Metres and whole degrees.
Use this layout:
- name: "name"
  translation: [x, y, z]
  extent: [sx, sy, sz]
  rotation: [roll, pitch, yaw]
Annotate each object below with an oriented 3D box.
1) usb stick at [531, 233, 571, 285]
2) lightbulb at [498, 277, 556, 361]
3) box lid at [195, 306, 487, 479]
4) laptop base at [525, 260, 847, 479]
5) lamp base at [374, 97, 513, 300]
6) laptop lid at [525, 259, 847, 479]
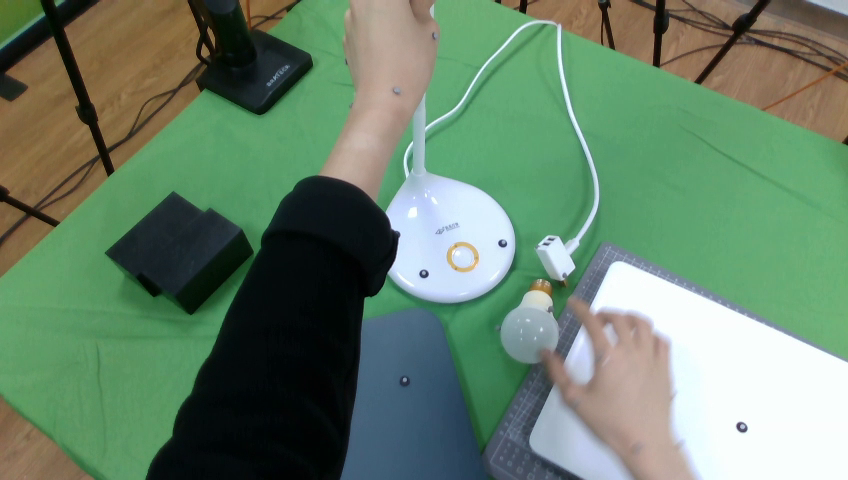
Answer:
- name: "usb stick"
  translation: [0.145, 0.023, 0.676]
  extent: [0.027, 0.059, 0.021]
  rotation: [-39, 24, -24]
- name: "lightbulb"
  translation: [0.113, 0.079, 0.644]
  extent: [0.059, 0.060, 0.107]
  rotation: [16, 45, 10]
- name: "box lid"
  translation: [-0.070, 0.248, 0.569]
  extent: [0.263, 0.015, 0.368]
  rotation: [-13, 62, -7]
- name: "laptop base"
  translation: [0.304, 0.184, 0.599]
  extent: [0.352, 0.023, 0.234]
  rotation: [26, 67, 14]
- name: "lamp base"
  translation: [0.014, -0.051, 0.643]
  extent: [0.160, 0.182, 0.177]
  rotation: [-32, 62, -17]
- name: "laptop lid"
  translation: [0.303, 0.180, 0.588]
  extent: [0.355, 0.013, 0.241]
  rotation: [27, 66, 15]
